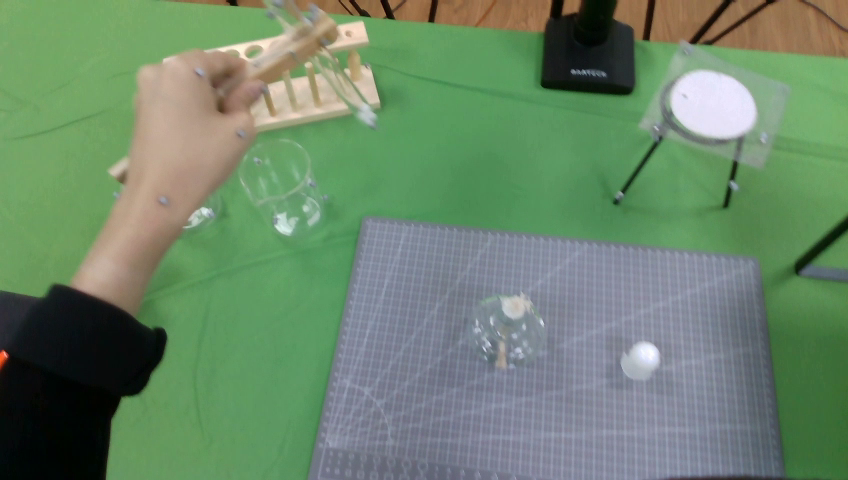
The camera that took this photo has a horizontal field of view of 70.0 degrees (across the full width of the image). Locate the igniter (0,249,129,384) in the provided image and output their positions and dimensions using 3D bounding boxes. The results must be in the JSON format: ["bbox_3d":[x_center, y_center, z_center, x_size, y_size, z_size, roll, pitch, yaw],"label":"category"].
[{"bbox_3d":[-0.404,0.114,0.580,0.057,0.025,0.276,32,68,26],"label":"igniter"}]

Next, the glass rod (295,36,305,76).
[{"bbox_3d":[-0.161,-0.259,0.707,0.008,0.201,0.008,-4,56,6],"label":"glass rod"}]

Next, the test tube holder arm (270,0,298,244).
[{"bbox_3d":[-0.099,-0.085,0.426,0.015,0.013,0.178,0,82,4],"label":"test tube holder arm"}]

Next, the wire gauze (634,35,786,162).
[{"bbox_3d":[0.292,-0.145,0.613,0.121,0.011,0.124,26,68,12],"label":"wire gauze"}]

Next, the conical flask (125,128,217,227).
[{"bbox_3d":[-0.285,-0.073,0.671,0.075,0.123,0.074,-1,63,2],"label":"conical flask"}]

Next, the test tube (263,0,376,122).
[{"bbox_3d":[-0.072,-0.132,0.442,0.017,0.152,0.017,-9,63,20],"label":"test tube"}]

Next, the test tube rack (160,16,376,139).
[{"bbox_3d":[-0.188,-0.201,0.753,0.242,0.086,0.066,-13,64,-5],"label":"test tube rack"}]

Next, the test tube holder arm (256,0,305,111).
[{"bbox_3d":[-0.100,-0.128,0.424,0.015,0.088,0.010,0,41,8],"label":"test tube holder arm"}]

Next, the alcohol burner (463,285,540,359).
[{"bbox_3d":[0.078,0.074,0.592,0.078,0.120,0.077,0,62,0],"label":"alcohol burner"}]

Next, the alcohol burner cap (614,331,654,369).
[{"bbox_3d":[0.214,0.108,0.612,0.034,0.048,0.033,0,63,0],"label":"alcohol burner cap"}]

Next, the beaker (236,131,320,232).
[{"bbox_3d":[-0.159,-0.058,0.674,0.074,0.101,0.083,20,66,12],"label":"beaker"}]

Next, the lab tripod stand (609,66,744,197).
[{"bbox_3d":[0.286,-0.114,0.673,0.148,0.132,0.147,0,63,0],"label":"lab tripod stand"}]
